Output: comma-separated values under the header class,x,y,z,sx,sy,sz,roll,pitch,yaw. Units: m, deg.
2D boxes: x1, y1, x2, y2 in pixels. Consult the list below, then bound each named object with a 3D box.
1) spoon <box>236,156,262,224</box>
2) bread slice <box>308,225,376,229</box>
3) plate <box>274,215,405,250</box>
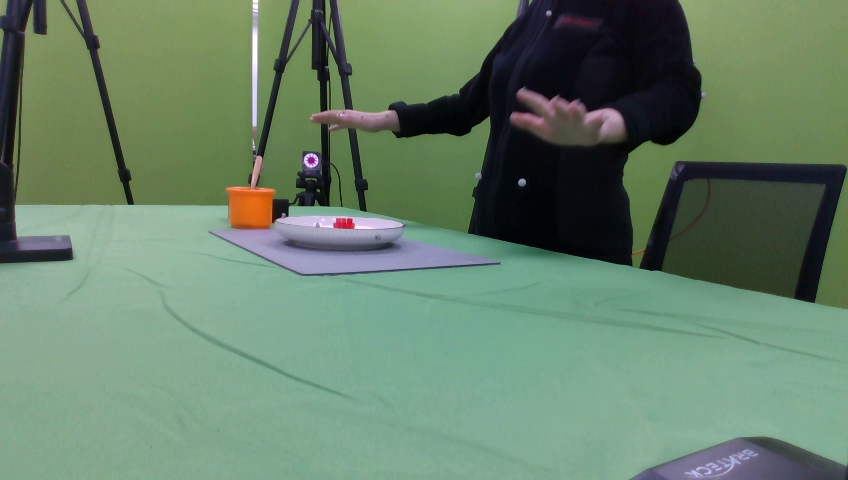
class,x,y,z,sx,sy,sz,roll,pitch,yaw
spoon,-0.338,-0.102,1.197,0.042,0.193,0.021,1,-37,-4
bread slice,-0.133,-0.011,0.974,0.135,0.018,0.106,-3,8,-33
plate,-0.136,-0.013,0.981,0.209,0.038,0.209,2,7,0
